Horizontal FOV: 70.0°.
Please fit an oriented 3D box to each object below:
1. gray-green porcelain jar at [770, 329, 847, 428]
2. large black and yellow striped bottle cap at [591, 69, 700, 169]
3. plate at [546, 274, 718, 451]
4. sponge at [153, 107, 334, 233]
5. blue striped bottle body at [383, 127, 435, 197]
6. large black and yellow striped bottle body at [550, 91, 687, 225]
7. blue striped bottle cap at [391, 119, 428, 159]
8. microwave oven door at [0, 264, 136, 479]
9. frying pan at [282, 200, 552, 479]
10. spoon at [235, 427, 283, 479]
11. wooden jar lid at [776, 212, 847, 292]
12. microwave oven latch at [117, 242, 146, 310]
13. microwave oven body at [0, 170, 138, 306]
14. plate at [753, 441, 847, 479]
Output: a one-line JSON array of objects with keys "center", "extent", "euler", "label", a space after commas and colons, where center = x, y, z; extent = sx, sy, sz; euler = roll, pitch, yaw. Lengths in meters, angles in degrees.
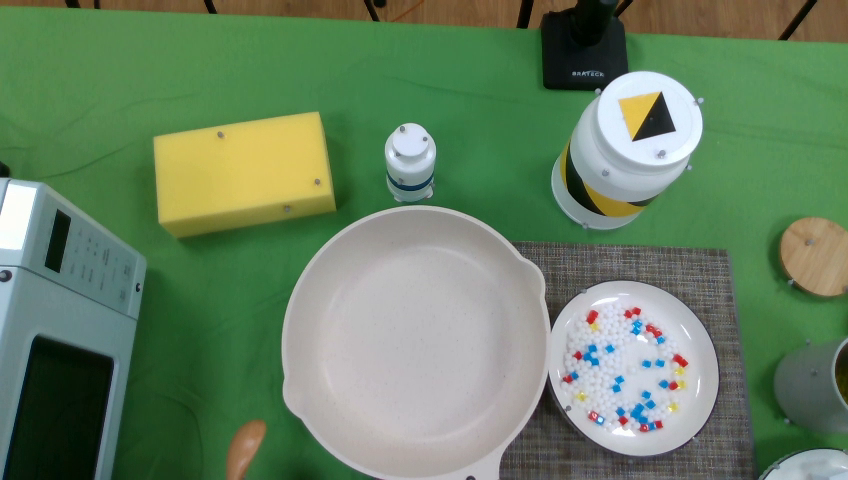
[{"center": [0.475, 0.161, 0.696], "extent": [0.106, 0.127, 0.105], "euler": [1, 73, -2], "label": "gray-green porcelain jar"}, {"center": [0.239, -0.132, 0.654], "extent": [0.115, 0.019, 0.114], "euler": [1, 72, -2], "label": "large black and yellow striped bottle cap"}, {"center": [0.244, 0.145, 0.732], "extent": [0.209, 0.038, 0.208], "euler": [1, 73, -2], "label": "plate"}, {"center": [-0.226, -0.088, 0.773], "extent": [0.207, 0.061, 0.117], "euler": [-11, 74, -7], "label": "sponge"}, {"center": [-0.019, -0.104, 0.756], "extent": [0.063, 0.121, 0.062], "euler": [1, 73, -2], "label": "blue striped bottle body"}, {"center": [0.236, -0.106, 0.736], "extent": [0.131, 0.185, 0.130], "euler": [1, 72, -2], "label": "large black and yellow striped bottle body"}, {"center": [-0.017, -0.118, 0.706], "extent": [0.044, 0.021, 0.044], "euler": [0, 70, 0], "label": "blue striped bottle cap"}, {"center": [-0.360, 0.221, 0.559], "extent": [0.039, 0.245, 0.353], "euler": [2, 73, -2], "label": "microwave oven door"}, {"center": [0.032, 0.191, 0.633], "extent": [0.307, 0.103, 0.483], "euler": [-26, 68, 4], "label": "frying pan"}, {"center": [-0.207, 0.261, 0.597], "extent": [0.193, 0.041, 0.021], "euler": [-43, 93, -8], "label": "spoon"}, {"center": [0.514, 0.017, 0.797], "extent": [0.108, 0.021, 0.108], "euler": [1, 74, -2], "label": "wooden jar lid"}, {"center": [-0.353, 0.042, 0.720], "extent": [0.030, 0.029, 0.078], "euler": [5, 74, -1], "label": "microwave oven latch"}, {"center": [-0.503, 0.175, 0.572], "extent": [0.326, 0.261, 0.439], "euler": [3, 73, -2], "label": "microwave oven body"}, {"center": [0.462, 0.336, 0.689], "extent": [0.208, 0.039, 0.206], "euler": [1, 73, -2], "label": "plate"}]
